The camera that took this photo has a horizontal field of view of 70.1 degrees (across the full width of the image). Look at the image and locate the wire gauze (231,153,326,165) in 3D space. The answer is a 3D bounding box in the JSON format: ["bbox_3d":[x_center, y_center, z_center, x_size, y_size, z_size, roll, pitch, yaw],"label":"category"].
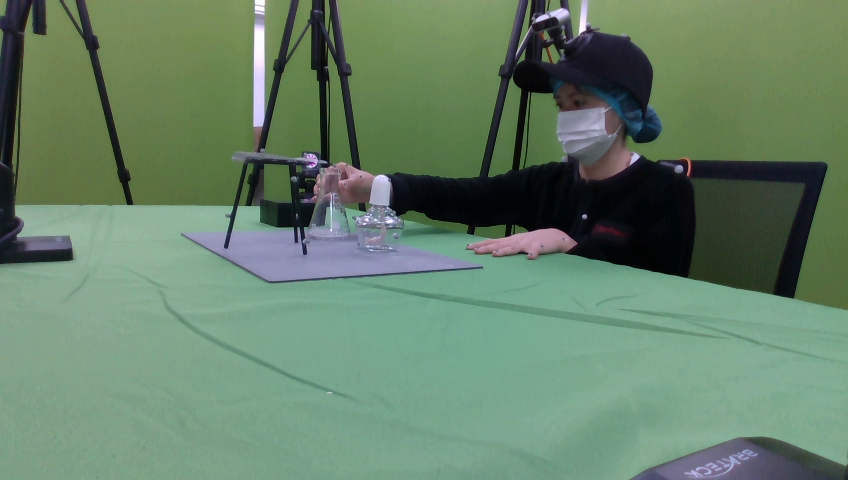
[{"bbox_3d":[-0.215,-0.118,0.881,0.125,0.011,0.121,1,7,-19],"label":"wire gauze"}]

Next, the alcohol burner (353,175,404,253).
[{"bbox_3d":[-0.069,-0.040,0.926,0.078,0.119,0.078,1,9,0],"label":"alcohol burner"}]

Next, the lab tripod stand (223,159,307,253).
[{"bbox_3d":[-0.220,-0.053,0.896,0.148,0.131,0.148,1,6,0],"label":"lab tripod stand"}]

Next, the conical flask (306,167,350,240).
[{"bbox_3d":[-0.164,-0.063,1.042,0.075,0.122,0.075,3,7,0],"label":"conical flask"}]

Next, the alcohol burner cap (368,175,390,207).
[{"bbox_3d":[-0.067,-0.075,0.923,0.034,0.048,0.034,8,11,-1],"label":"alcohol burner cap"}]
